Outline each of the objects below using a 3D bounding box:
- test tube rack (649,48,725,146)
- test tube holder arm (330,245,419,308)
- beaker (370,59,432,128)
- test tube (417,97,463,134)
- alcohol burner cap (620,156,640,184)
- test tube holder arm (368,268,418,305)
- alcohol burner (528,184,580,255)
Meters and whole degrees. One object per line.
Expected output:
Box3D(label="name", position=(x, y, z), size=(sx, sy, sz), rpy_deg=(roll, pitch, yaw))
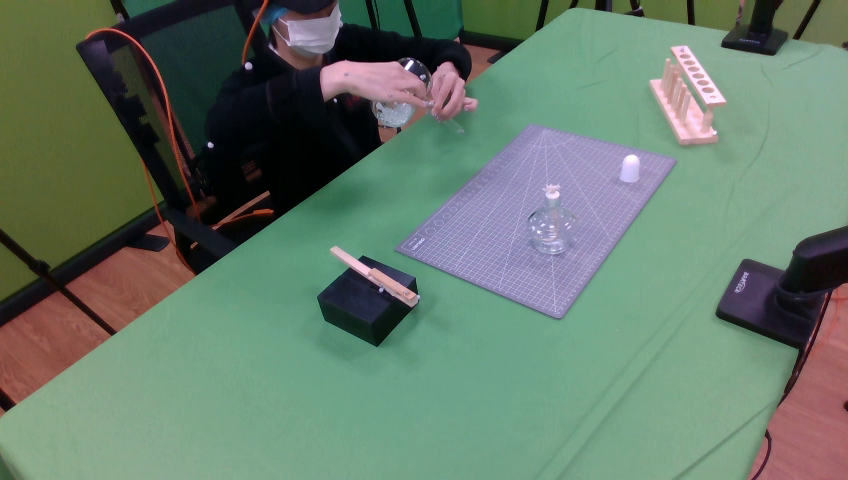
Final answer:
Box3D(label="test tube rack", position=(0.508, -0.285, 1.186), size=(0.067, 0.085, 0.241), rpy_deg=(-4, 40, 6))
Box3D(label="test tube holder arm", position=(-0.074, 0.049, 0.857), size=(0.177, 0.013, 0.015), rpy_deg=(30, 53, 36))
Box3D(label="beaker", position=(-0.038, -0.238, 1.002), size=(0.073, 0.084, 0.100), rpy_deg=(4, 47, 32))
Box3D(label="test tube", position=(0.033, -0.226, 1.113), size=(0.017, 0.151, 0.017), rpy_deg=(-9, 73, 30))
Box3D(label="alcohol burner cap", position=(0.358, -0.124, 1.047), size=(0.034, 0.048, 0.033), rpy_deg=(-4, 40, 4))
Box3D(label="test tube holder arm", position=(-0.043, 0.063, 0.827), size=(0.015, 0.010, 0.087), rpy_deg=(-37, 47, -29))
Box3D(label="alcohol burner", position=(0.196, -0.036, 0.911), size=(0.078, 0.119, 0.077), rpy_deg=(-6, 41, 5))
